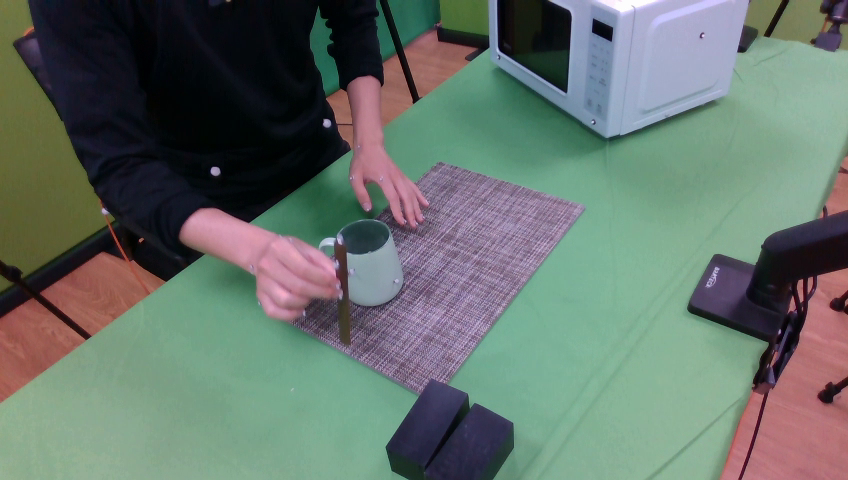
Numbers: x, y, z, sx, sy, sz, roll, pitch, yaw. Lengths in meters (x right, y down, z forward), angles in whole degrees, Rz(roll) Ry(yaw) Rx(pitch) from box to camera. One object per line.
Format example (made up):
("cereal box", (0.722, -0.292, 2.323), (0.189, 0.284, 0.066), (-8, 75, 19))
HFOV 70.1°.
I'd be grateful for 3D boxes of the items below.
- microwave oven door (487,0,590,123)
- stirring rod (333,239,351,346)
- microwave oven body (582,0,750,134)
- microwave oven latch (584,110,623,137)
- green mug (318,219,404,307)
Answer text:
("microwave oven door", (0.232, -0.420, 1.230), (0.039, 0.245, 0.352), (-22, 43, -16))
("stirring rod", (-0.092, 0.065, 0.681), (0.014, 0.176, 0.006), (17, 45, 13))
("microwave oven body", (0.382, -0.445, 1.246), (0.327, 0.261, 0.437), (-22, 42, -16))
("microwave oven latch", (0.337, -0.222, 1.142), (0.030, 0.029, 0.078), (-21, 42, -14))
("green mug", (-0.096, 0.032, 0.876), (0.125, 0.105, 0.092), (8, 43, 17))
